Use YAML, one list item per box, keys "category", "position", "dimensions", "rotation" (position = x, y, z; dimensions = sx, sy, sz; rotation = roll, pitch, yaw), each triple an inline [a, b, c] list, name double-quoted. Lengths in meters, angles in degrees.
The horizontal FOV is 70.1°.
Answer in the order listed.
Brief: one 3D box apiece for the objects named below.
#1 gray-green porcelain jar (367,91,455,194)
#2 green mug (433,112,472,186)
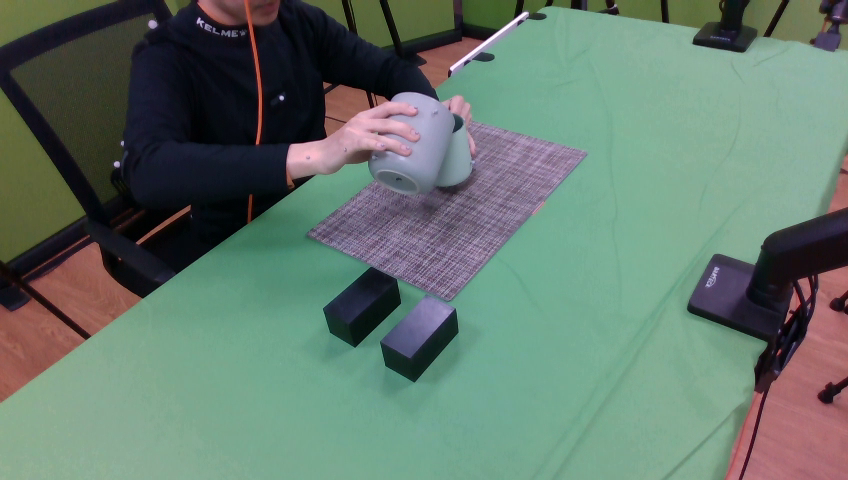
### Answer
- category: "gray-green porcelain jar"
  position: [-0.022, -0.141, 0.910]
  dimensions: [0.105, 0.106, 0.126]
  rotation: [11, 70, 21]
- category: "green mug"
  position: [0.035, -0.166, 1.045]
  dimensions: [0.092, 0.105, 0.125]
  rotation: [-4, 41, 6]
